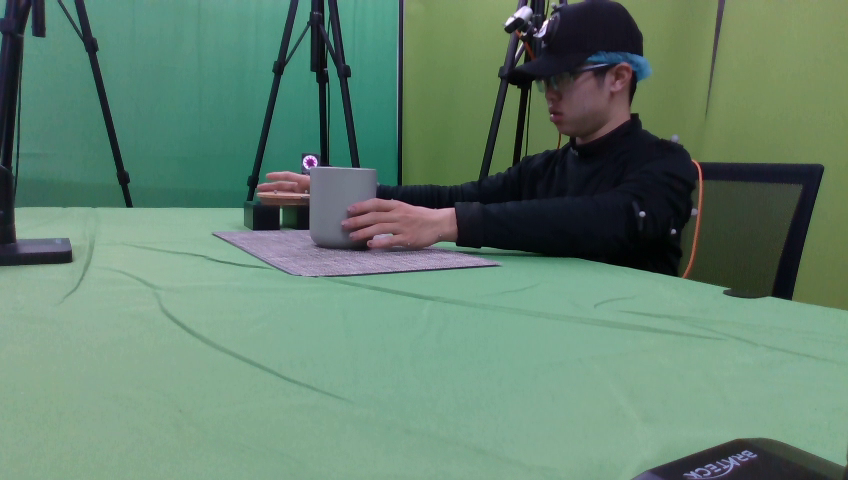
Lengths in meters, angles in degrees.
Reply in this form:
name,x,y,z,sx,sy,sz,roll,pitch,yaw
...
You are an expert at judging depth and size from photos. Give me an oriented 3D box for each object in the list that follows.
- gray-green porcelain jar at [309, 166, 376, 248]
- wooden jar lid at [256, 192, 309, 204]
name,x,y,z,sx,sy,sz,roll,pitch,yaw
gray-green porcelain jar,-0.131,-0.054,0.966,0.106,0.126,0.106,2,8,0
wooden jar lid,-0.283,-0.085,1.223,0.108,0.020,0.108,3,6,0
